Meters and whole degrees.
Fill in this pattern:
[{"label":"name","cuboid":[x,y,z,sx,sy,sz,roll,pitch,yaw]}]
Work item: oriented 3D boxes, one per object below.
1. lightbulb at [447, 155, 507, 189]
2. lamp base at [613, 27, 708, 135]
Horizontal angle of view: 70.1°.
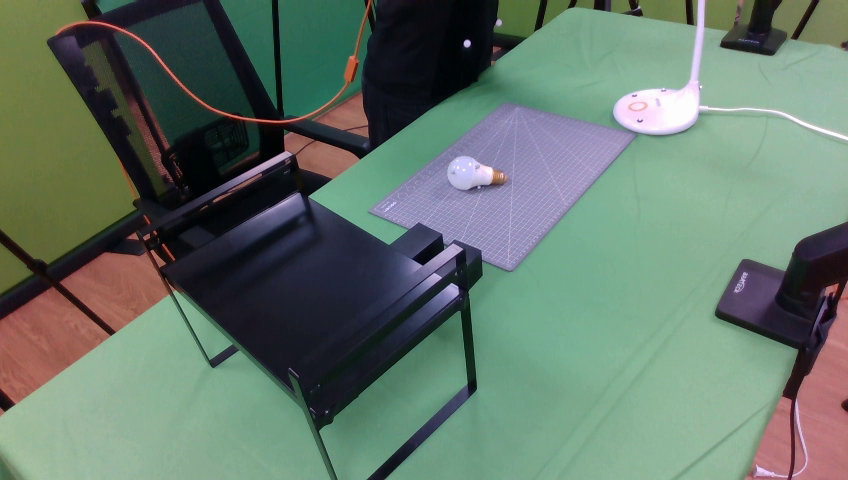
[{"label":"lightbulb","cuboid":[0.095,-0.118,1.074,0.108,0.059,0.059,7,40,-7]},{"label":"lamp base","cuboid":[0.463,-0.315,1.152,0.179,0.181,0.159,-5,41,-1]}]
